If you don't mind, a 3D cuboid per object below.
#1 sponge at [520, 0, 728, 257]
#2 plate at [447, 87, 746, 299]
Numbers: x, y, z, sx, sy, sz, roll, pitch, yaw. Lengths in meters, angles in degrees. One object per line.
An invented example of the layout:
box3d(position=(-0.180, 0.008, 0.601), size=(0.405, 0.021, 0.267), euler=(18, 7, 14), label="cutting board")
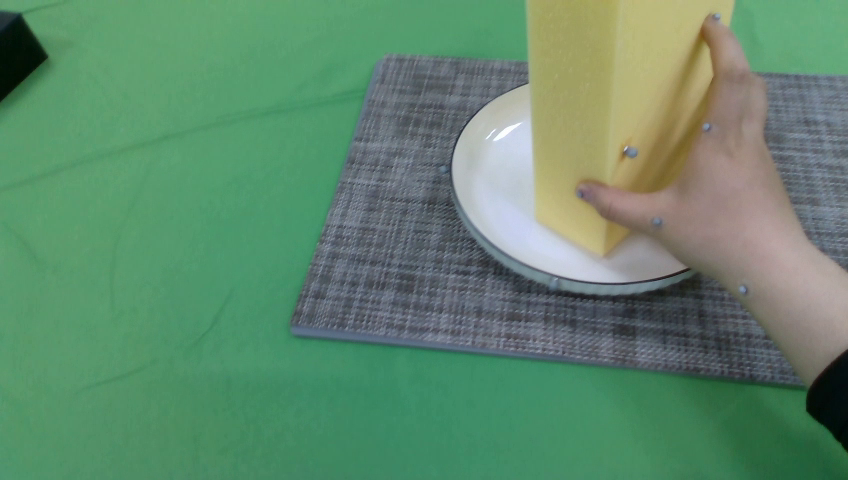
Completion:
box3d(position=(0.124, -0.103, 0.374), size=(0.118, 0.209, 0.060), euler=(-39, 50, -22), label="sponge")
box3d(position=(0.121, -0.041, 0.448), size=(0.207, 0.039, 0.205), euler=(-2, 52, 3), label="plate")
